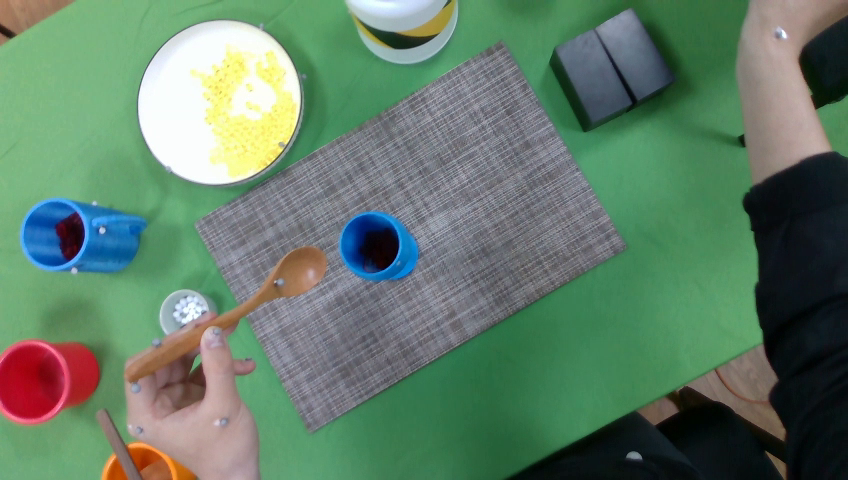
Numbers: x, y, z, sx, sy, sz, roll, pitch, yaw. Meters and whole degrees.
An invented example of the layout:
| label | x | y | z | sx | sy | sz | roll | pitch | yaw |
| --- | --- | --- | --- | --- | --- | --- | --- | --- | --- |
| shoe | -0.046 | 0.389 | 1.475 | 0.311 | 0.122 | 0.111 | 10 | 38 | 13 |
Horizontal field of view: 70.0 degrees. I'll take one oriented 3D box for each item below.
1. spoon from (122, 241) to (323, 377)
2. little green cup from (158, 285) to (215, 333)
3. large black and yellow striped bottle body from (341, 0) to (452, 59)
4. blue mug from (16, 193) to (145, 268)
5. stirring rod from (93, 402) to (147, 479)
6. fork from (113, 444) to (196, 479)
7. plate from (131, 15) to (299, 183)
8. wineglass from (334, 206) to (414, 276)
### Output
| label | x | y | z | sx | sy | sz | roll | pitch | yaw |
| --- | --- | --- | --- | --- | --- | --- | --- | --- | --- |
| spoon | -0.141 | 0.047 | 0.457 | 0.021 | 0.193 | 0.042 | 8 | 115 | 25 |
| little green cup | -0.290 | 0.085 | 0.749 | 0.061 | 0.038 | 0.061 | 0 | 88 | 4 |
| large black and yellow striped bottle body | -0.035 | -0.296 | 0.678 | 0.131 | 0.184 | 0.130 | 0 | 87 | 4 |
| blue mug | -0.397 | -0.013 | 0.726 | 0.116 | 0.106 | 0.082 | -17 | 86 | 2 |
| stirring rod | -0.327 | 0.262 | 0.684 | 0.014 | 0.006 | 0.176 | -31 | 86 | 2 |
| fork | -0.366 | 0.281 | 0.689 | 0.208 | 0.018 | 0.028 | -13 | 91 | -41 |
| plate | -0.257 | -0.173 | 0.759 | 0.209 | 0.038 | 0.209 | 0 | 88 | 3 |
| wineglass | -0.050 | 0.004 | 0.667 | 0.074 | 0.172 | 0.073 | 0 | 86 | 4 |
